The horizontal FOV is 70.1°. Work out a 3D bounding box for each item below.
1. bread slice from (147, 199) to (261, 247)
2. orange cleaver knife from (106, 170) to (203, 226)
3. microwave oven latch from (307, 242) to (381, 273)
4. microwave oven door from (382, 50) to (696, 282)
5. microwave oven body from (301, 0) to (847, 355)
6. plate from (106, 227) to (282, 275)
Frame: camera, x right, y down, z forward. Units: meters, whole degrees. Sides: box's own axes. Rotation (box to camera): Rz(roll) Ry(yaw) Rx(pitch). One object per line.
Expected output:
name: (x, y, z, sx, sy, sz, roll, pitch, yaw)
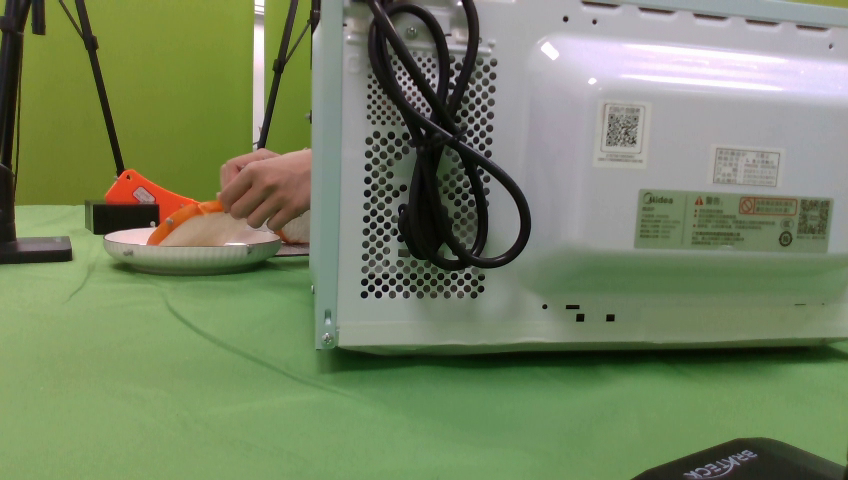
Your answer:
bread slice: (-0.279, -0.013, 0.762, 0.107, 0.018, 0.135, -39, -11, 19)
orange cleaver knife: (-0.458, -0.060, 1.097, 0.212, 0.077, 0.012, 23, -4, -38)
microwave oven latch: (-0.086, 0.019, 0.656, 0.079, 0.029, 0.030, 2, 7, -10)
microwave oven door: (0.135, -0.077, 0.685, 0.357, 0.243, 0.039, 1, 8, -12)
microwave oven body: (0.120, -0.053, 0.535, 0.443, 0.260, 0.325, 2, 7, -11)
plate: (-0.288, 0.013, 0.772, 0.208, 0.039, 0.207, 2, 7, 0)
